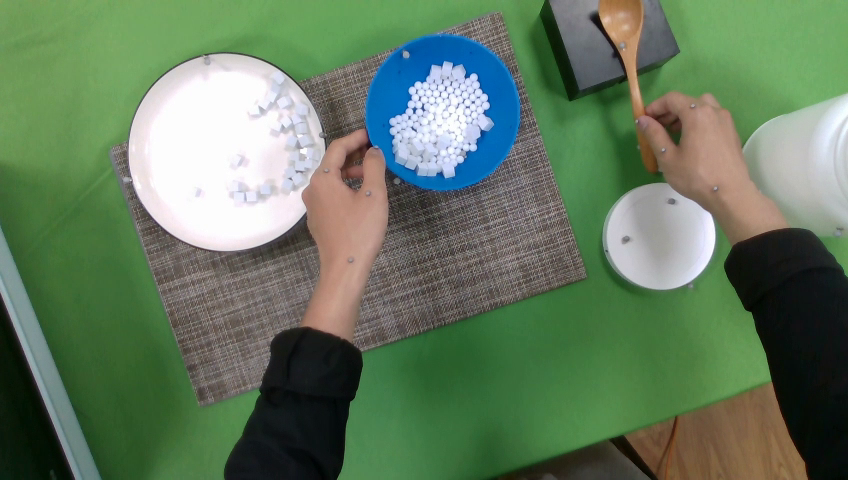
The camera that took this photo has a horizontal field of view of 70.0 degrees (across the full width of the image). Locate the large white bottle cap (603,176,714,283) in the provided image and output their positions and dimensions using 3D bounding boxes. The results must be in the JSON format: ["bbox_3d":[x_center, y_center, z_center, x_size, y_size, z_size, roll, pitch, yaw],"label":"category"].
[{"bbox_3d":[0.251,-0.011,0.649,0.115,0.018,0.115,0,94,2],"label":"large white bottle cap"}]

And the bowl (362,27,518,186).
[{"bbox_3d":[0.017,-0.128,0.616,0.151,0.077,0.151,0,93,2],"label":"bowl"}]

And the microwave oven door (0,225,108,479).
[{"bbox_3d":[-0.411,0.151,0.541,0.039,0.243,0.356,-22,91,2],"label":"microwave oven door"}]

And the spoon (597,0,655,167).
[{"bbox_3d":[0.208,-0.162,0.606,0.041,0.021,0.195,-6,113,27],"label":"spoon"}]

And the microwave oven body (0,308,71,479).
[{"bbox_3d":[-0.563,0.164,0.550,0.326,0.260,0.442,-21,92,1],"label":"microwave oven body"}]

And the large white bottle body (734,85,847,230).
[{"bbox_3d":[0.391,-0.075,0.561,0.130,0.184,0.130,0,91,2],"label":"large white bottle body"}]

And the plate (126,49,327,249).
[{"bbox_3d":[-0.204,-0.094,0.642,0.209,0.038,0.209,0,92,1],"label":"plate"}]
